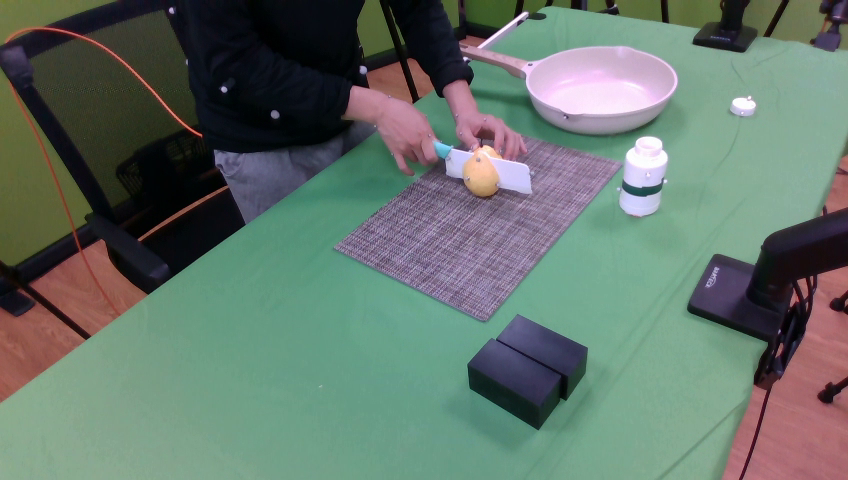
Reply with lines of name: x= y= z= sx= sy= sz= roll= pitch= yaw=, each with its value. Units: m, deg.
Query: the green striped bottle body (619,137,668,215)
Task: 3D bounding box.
green striped bottle body: x=0.350 y=-0.103 z=0.963 sx=0.063 sy=0.120 sz=0.063 roll=-4 pitch=41 yaw=4

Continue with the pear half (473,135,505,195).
pear half: x=0.110 y=-0.138 z=1.039 sx=0.076 sy=0.110 sz=0.056 roll=13 pitch=44 yaw=21

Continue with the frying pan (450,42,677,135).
frying pan: x=0.268 y=-0.344 z=1.266 sx=0.485 sy=0.103 sz=0.307 roll=25 pitch=49 yaw=21

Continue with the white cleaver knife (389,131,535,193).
white cleaver knife: x=0.057 y=-0.134 z=1.043 sx=0.284 sy=0.066 sz=0.021 roll=19 pitch=45 yaw=27

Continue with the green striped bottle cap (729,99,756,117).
green striped bottle cap: x=0.623 y=-0.259 z=1.182 sx=0.044 sy=0.020 sz=0.044 roll=-3 pitch=41 yaw=3

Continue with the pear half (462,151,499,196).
pear half: x=0.092 y=-0.107 z=1.022 sx=0.070 sy=0.088 sz=0.031 roll=15 pitch=50 yaw=21
